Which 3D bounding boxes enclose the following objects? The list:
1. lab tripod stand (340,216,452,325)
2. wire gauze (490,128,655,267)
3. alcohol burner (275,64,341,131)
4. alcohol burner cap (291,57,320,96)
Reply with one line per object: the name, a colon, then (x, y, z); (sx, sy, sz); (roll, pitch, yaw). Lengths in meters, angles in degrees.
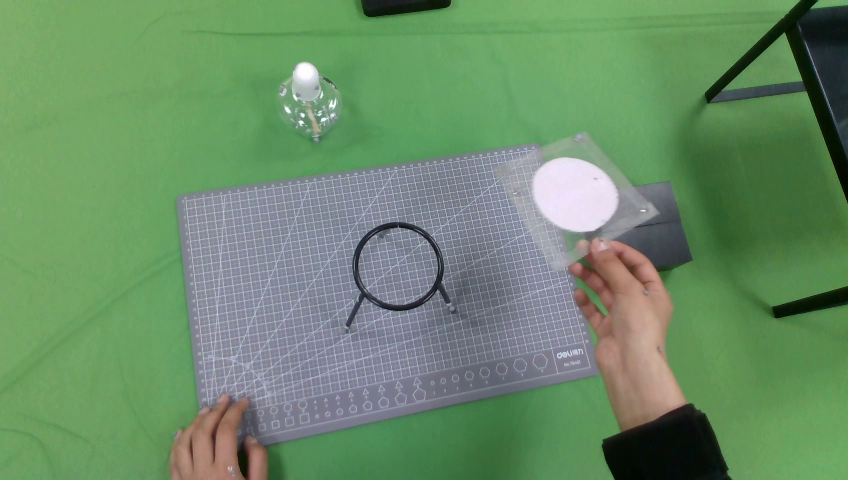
lab tripod stand: (-0.030, 0.036, 0.649); (0.149, 0.132, 0.147); (2, 74, -7)
wire gauze: (0.144, -0.049, 0.595); (0.121, 0.011, 0.124); (-24, 67, -16)
alcohol burner: (-0.135, -0.175, 0.705); (0.078, 0.119, 0.077); (2, 75, -7)
alcohol burner cap: (-0.132, -0.183, 0.671); (0.034, 0.048, 0.033); (2, 80, -10)
